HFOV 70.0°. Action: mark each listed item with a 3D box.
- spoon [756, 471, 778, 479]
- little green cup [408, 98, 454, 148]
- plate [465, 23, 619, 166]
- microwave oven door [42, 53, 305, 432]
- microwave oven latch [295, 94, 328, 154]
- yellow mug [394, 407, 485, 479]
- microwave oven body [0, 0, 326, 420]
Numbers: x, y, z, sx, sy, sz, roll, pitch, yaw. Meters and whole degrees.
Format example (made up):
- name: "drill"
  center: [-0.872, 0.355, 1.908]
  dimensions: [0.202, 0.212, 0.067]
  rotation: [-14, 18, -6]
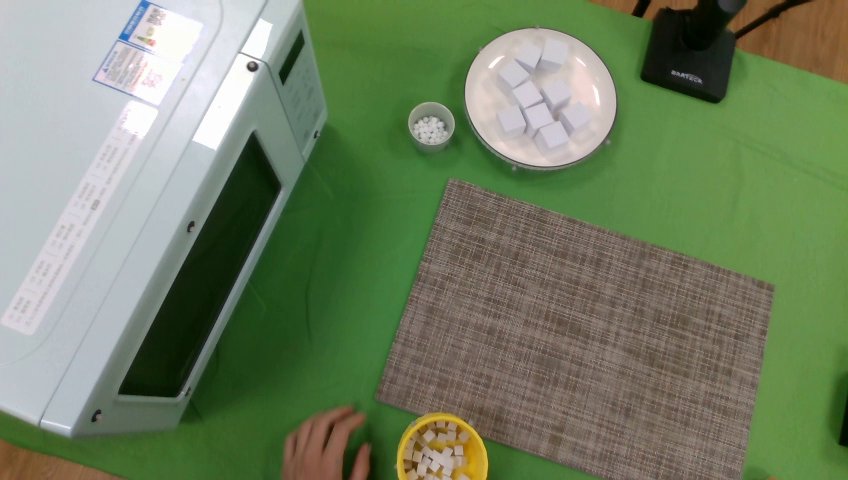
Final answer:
- name: "spoon"
  center: [0.444, 0.362, 0.709]
  dimensions: [0.042, 0.022, 0.193]
  rotation: [-23, 78, -26]
- name: "little green cup"
  center: [0.008, -0.152, 0.802]
  dimensions: [0.061, 0.039, 0.061]
  rotation: [1, 77, -4]
- name: "plate"
  center: [0.158, -0.195, 0.825]
  dimensions: [0.208, 0.039, 0.206]
  rotation: [1, 76, -3]
- name: "microwave oven door"
  center: [-0.228, 0.017, 0.623]
  dimensions: [0.039, 0.245, 0.354]
  rotation: [22, 75, 3]
- name: "microwave oven latch"
  center: [-0.149, -0.153, 0.775]
  dimensions: [0.030, 0.029, 0.079]
  rotation: [24, 76, 2]
- name: "yellow mug"
  center: [0.008, 0.256, 0.686]
  dimensions: [0.100, 0.064, 0.130]
  rotation: [31, 80, 3]
- name: "microwave oven body"
  center: [-0.348, -0.074, 0.644]
  dimensions: [0.326, 0.261, 0.440]
  rotation: [22, 76, 2]
